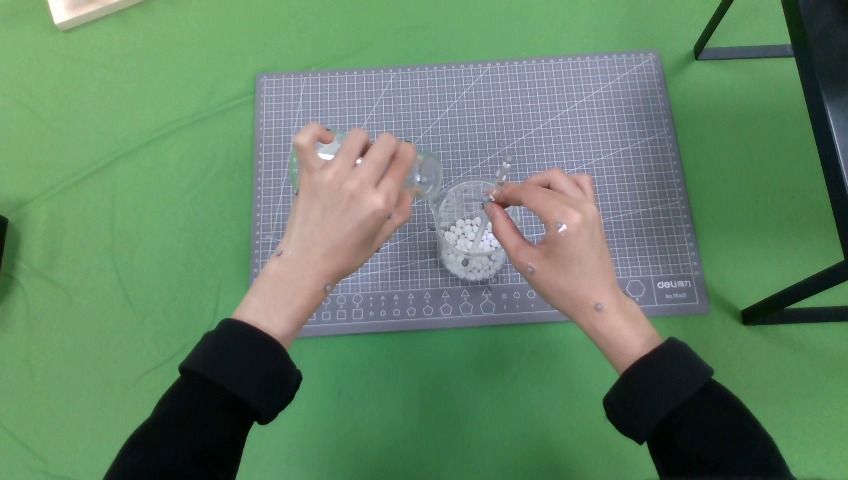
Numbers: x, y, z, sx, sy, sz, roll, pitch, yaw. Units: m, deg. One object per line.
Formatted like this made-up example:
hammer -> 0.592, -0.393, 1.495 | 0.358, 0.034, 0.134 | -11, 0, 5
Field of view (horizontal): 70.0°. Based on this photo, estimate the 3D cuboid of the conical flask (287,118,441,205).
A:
conical flask -> -0.046, -0.062, 0.500 | 0.121, 0.076, 0.075 | 8, 71, 31

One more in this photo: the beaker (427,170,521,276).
beaker -> 0.044, -0.012, 0.567 | 0.084, 0.101, 0.073 | 20, 73, 9

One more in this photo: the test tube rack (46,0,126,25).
test tube rack -> -0.330, -0.339, 0.686 | 0.242, 0.085, 0.066 | -24, 73, -6

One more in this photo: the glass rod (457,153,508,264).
glass rod -> 0.045, -0.019, 0.507 | 0.008, 0.201, 0.008 | 2, 66, -5
